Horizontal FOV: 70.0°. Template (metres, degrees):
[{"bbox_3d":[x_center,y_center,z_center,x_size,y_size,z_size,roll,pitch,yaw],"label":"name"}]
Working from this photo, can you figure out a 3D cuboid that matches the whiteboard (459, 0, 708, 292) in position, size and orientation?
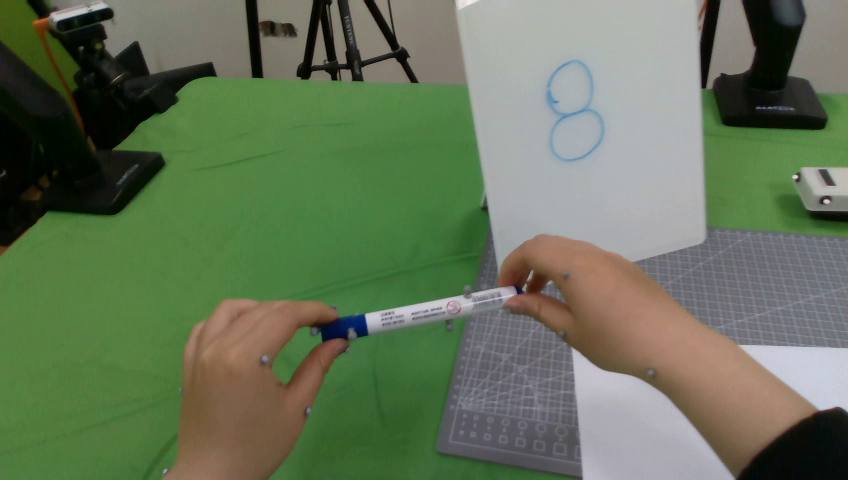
[{"bbox_3d":[0.138,-0.132,0.595,0.217,0.307,0.142,-14,21,-8],"label":"whiteboard"}]

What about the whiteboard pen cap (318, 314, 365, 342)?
[{"bbox_3d":[-0.055,0.058,0.411,0.033,0.018,0.018,-5,39,-16],"label":"whiteboard pen cap"}]

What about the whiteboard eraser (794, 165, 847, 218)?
[{"bbox_3d":[0.445,-0.049,0.616,0.112,0.042,0.055,3,44,10],"label":"whiteboard eraser"}]

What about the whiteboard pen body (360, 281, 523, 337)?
[{"bbox_3d":[0.001,0.050,0.422,0.141,0.017,0.017,-12,41,-11],"label":"whiteboard pen body"}]
